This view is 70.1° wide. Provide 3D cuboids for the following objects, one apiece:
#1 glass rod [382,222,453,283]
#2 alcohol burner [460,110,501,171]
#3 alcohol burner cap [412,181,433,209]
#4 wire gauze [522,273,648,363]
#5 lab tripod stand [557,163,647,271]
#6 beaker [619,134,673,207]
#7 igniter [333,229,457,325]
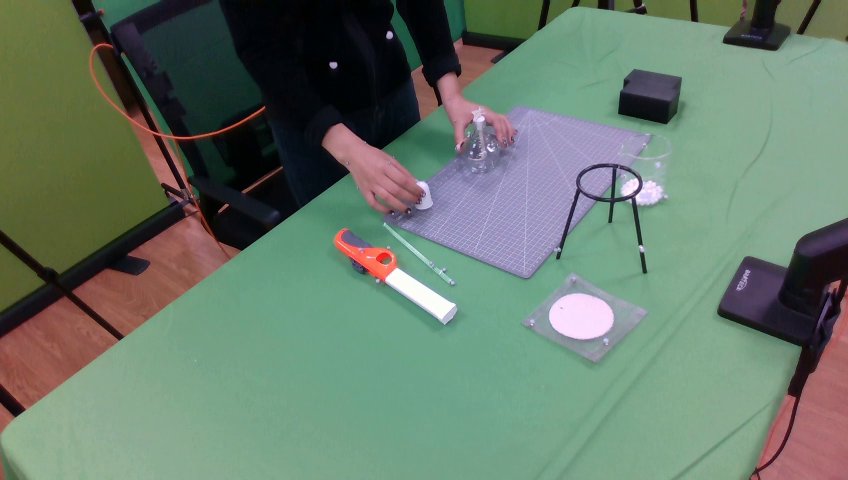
[{"bbox_3d":[-0.014,0.016,0.976,0.008,0.008,0.198,-30,44,-22],"label":"glass rod"},{"bbox_3d":[0.103,-0.186,1.105,0.078,0.119,0.077,-4,42,5],"label":"alcohol burner"},{"bbox_3d":[-0.005,-0.080,1.045,0.034,0.048,0.033,-7,44,8],"label":"alcohol burner cap"},{"bbox_3d":[0.220,0.105,0.828,0.125,0.011,0.120,-35,47,-30],"label":"wire gauze"},{"bbox_3d":[0.271,-0.034,0.885,0.148,0.132,0.147,-4,40,4],"label":"lab tripod stand"},{"bbox_3d":[0.356,-0.111,0.986,0.084,0.101,0.073,-10,40,1],"label":"beaker"},{"bbox_3d":[-0.055,0.049,0.929,0.057,0.025,0.274,-42,49,-20],"label":"igniter"}]
